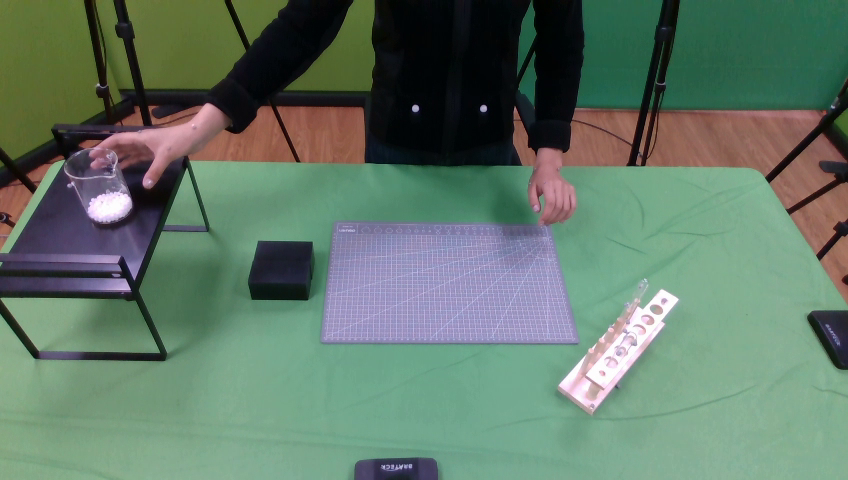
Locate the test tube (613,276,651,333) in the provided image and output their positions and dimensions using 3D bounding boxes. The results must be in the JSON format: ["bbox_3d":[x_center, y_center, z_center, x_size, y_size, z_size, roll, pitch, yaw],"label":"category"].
[{"bbox_3d":[0.344,0.109,1.007,0.017,0.151,0.017,3,49,-3],"label":"test tube"}]

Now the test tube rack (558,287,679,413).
[{"bbox_3d":[0.326,0.170,1.009,0.066,0.085,0.242,36,54,27],"label":"test tube rack"}]

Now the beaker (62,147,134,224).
[{"bbox_3d":[-0.495,-0.080,0.933,0.084,0.101,0.074,23,50,16],"label":"beaker"}]

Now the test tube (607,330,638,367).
[{"bbox_3d":[0.292,0.184,0.925,0.017,0.151,0.017,4,49,-4],"label":"test tube"}]
